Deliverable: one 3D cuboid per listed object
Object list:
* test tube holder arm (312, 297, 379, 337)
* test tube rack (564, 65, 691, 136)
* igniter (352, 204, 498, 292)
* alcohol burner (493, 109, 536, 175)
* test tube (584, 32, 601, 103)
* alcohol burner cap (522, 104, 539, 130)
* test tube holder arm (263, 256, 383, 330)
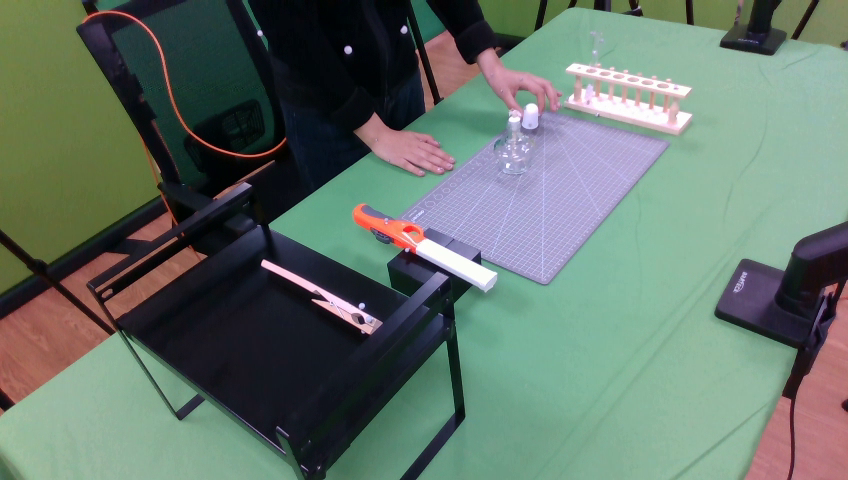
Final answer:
[{"bbox_3d":[-0.082,0.075,0.622,0.087,0.015,0.010,27,80,33],"label":"test tube holder arm"},{"bbox_3d":[0.404,-0.288,1.204,0.240,0.085,0.067,24,49,32],"label":"test tube rack"},{"bbox_3d":[-0.010,0.005,0.895,0.274,0.025,0.057,27,48,32],"label":"igniter"},{"bbox_3d":[0.162,-0.179,1.087,0.078,0.119,0.077,-5,38,5],"label":"alcohol burner"},{"bbox_3d":[0.333,-0.338,1.199,0.017,0.151,0.017,-3,45,3],"label":"test tube"},{"bbox_3d":[0.208,-0.240,1.174,0.034,0.048,0.033,-2,49,3],"label":"alcohol burner cap"},{"bbox_3d":[-0.113,0.054,0.647,0.177,0.015,0.013,26,80,33],"label":"test tube holder arm"}]
